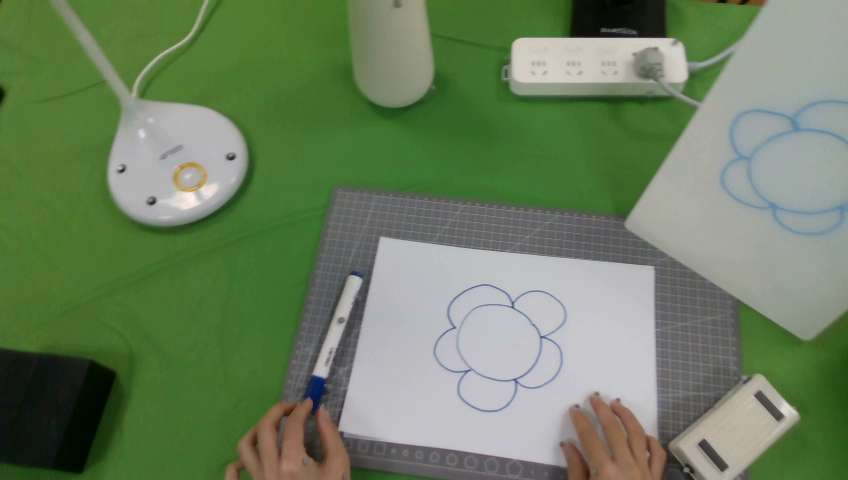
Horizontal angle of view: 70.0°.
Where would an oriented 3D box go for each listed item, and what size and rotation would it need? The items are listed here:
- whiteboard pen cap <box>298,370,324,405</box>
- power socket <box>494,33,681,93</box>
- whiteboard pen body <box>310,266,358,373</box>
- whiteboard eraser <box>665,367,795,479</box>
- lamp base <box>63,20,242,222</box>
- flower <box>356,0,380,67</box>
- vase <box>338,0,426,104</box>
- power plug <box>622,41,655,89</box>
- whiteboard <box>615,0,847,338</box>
[{"bbox_3d":[-0.110,0.145,0.596,0.018,0.018,0.033,14,71,9],"label":"whiteboard pen cap"},{"bbox_3d":[0.201,-0.218,0.747,0.227,0.033,0.071,1,66,2],"label":"power socket"},{"bbox_3d":[-0.095,0.092,0.616,0.017,0.017,0.140,14,69,9],"label":"whiteboard pen body"},{"bbox_3d":[0.280,0.171,0.558,0.112,0.042,0.055,-35,68,-13],"label":"whiteboard eraser"},{"bbox_3d":[-0.306,-0.133,0.643,0.178,0.182,0.160,38,71,20],"label":"lamp base"},{"bbox_3d":[-0.035,-0.269,0.596,0.044,0.362,0.038,-34,85,-22],"label":"flower"},{"bbox_3d":[-0.051,-0.244,0.675,0.098,0.201,0.097,-1,65,3],"label":"vase"},{"bbox_3d":[0.250,-0.200,0.712,0.035,0.053,0.072,11,72,7],"label":"power plug"},{"bbox_3d":[0.364,-0.093,0.568,0.216,0.307,0.143,36,51,17],"label":"whiteboard"}]
